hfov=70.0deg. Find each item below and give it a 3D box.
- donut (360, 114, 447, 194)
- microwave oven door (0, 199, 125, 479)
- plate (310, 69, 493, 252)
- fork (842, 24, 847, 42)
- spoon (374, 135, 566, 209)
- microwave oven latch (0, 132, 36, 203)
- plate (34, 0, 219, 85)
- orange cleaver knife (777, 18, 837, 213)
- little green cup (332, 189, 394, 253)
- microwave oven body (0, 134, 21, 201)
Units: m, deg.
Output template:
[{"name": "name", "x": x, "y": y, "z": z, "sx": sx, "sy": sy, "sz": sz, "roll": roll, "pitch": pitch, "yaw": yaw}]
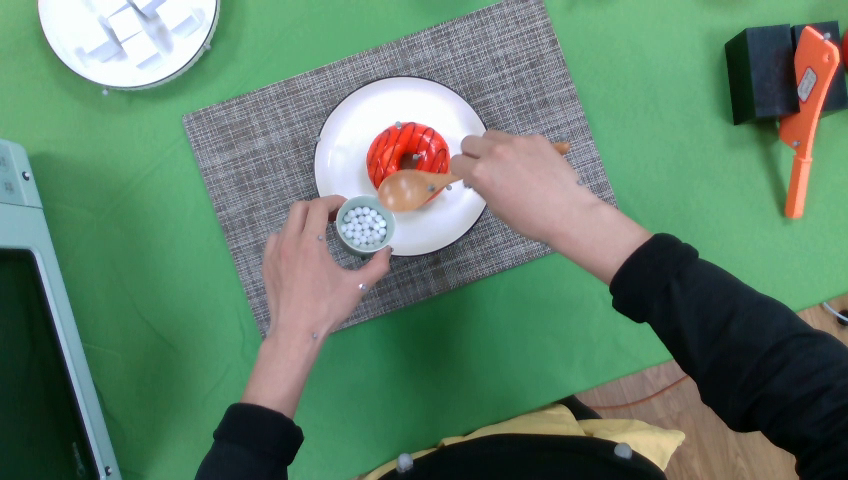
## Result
[{"name": "donut", "x": -0.022, "y": -0.093, "z": 0.688, "sx": 0.099, "sy": 0.048, "sz": 0.099, "roll": 0, "pitch": 92, "yaw": 1}, {"name": "microwave oven door", "x": -0.406, "y": 0.128, "z": 0.580, "sx": 0.039, "sy": 0.244, "sz": 0.355, "roll": -17, "pitch": 89, "yaw": 0}, {"name": "plate", "x": -0.025, "y": -0.089, "z": 0.699, "sx": 0.209, "sy": 0.038, "sz": 0.209, "roll": 0, "pitch": 90, "yaw": 0}, {"name": "fork", "x": 0.575, "y": -0.233, "z": 0.652, "sx": 0.206, "sy": 0.019, "sz": 0.028, "roll": 9, "pitch": 87, "yaw": 42}, {"name": "spoon", "x": 0.039, "y": -0.066, "z": 0.572, "sx": 0.193, "sy": 0.022, "sz": 0.041, "roll": -13, "pitch": 88, "yaw": 26}, {"name": "microwave oven latch", "x": -0.468, "y": -0.080, "z": 0.683, "sx": 0.030, "sy": 0.029, "sz": 0.079, "roll": -16, "pitch": 90, "yaw": -1}, {"name": "plate", "x": -0.339, "y": -0.280, "z": 0.704, "sx": 0.208, "sy": 0.039, "sz": 0.207, "roll": 0, "pitch": 89, "yaw": 0}, {"name": "orange cleaver knife", "x": 0.420, "y": -0.135, "z": 0.682, "sx": 0.012, "sy": 0.076, "sz": 0.213, "roll": -5, "pitch": 119, "yaw": 2}, {"name": "little green cup", "x": -0.064, "y": -0.017, "z": 0.618, "sx": 0.062, "sy": 0.039, "sz": 0.061, "roll": 4, "pitch": 72, "yaw": -11}, {"name": "microwave oven body", "x": -0.558, "y": 0.130, "z": 0.585, "sx": 0.326, "sy": 0.260, "sz": 0.441, "roll": -17, "pitch": 90, "yaw": -1}]
